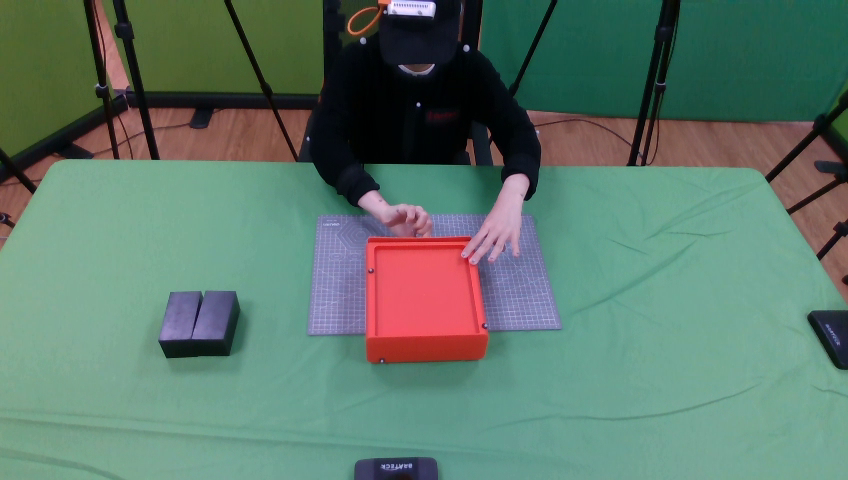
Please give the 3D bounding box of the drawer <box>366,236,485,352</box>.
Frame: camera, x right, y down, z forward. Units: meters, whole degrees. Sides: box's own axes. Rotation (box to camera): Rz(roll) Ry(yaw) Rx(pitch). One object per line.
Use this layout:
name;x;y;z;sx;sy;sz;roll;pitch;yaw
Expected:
drawer;-0.003;0.090;1.067;0.195;0.073;0.210;0;47;-5

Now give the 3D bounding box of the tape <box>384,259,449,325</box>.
tape;-0.012;0.092;1.073;0.117;0.053;0.116;2;46;-2

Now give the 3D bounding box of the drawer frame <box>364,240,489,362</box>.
drawer frame;-0.002;0.101;1.054;0.202;0.083;0.212;-1;47;-5
